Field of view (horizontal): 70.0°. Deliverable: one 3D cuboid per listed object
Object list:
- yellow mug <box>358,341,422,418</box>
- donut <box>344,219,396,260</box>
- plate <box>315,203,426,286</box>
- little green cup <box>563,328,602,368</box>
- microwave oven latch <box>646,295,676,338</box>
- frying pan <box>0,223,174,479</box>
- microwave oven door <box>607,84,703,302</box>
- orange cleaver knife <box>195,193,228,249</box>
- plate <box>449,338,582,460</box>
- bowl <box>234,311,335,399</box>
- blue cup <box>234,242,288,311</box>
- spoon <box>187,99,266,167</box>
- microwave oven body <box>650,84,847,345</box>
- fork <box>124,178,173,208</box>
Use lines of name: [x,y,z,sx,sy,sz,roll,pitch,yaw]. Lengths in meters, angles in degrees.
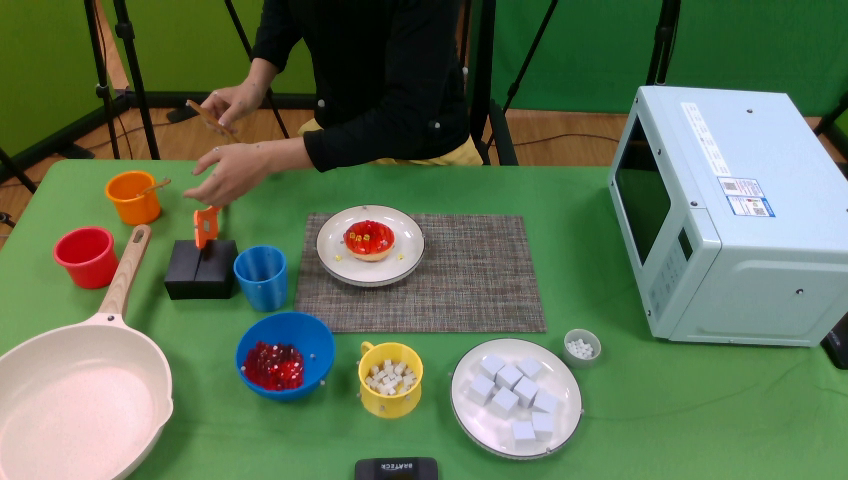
yellow mug: [-0.063,0.210,0.960,0.100,0.064,0.130,-29,54,-28]
donut: [-0.103,-0.002,1.157,0.099,0.048,0.098,3,43,-2]
plate: [-0.101,0.012,1.159,0.209,0.038,0.208,2,46,-2]
little green cup: [0.266,0.185,1.025,0.061,0.039,0.061,1,44,-1]
microwave oven latch: [0.413,0.133,1.061,0.030,0.029,0.078,4,46,1]
frying pan: [-0.505,0.169,0.940,0.307,0.103,0.485,5,54,-1]
microwave oven door: [0.424,-0.096,1.137,0.039,0.245,0.353,3,46,-1]
orange cleaver knife: [-0.406,-0.041,1.163,0.012,0.077,0.210,0,18,-3]
plate: [0.141,0.251,0.955,0.208,0.039,0.206,2,46,-2]
bowl: [-0.214,0.194,0.956,0.151,0.077,0.150,2,46,-2]
blue cup: [-0.276,0.072,1.052,0.092,0.101,0.092,1,48,-1]
spoon: [-0.390,-0.213,1.207,0.021,0.195,0.041,-15,45,32]
microwave oven body: [0.569,-0.054,1.115,0.326,0.261,0.439,2,46,-1]
fork: [-0.525,-0.089,1.153,0.207,0.019,0.028,-17,26,45]
